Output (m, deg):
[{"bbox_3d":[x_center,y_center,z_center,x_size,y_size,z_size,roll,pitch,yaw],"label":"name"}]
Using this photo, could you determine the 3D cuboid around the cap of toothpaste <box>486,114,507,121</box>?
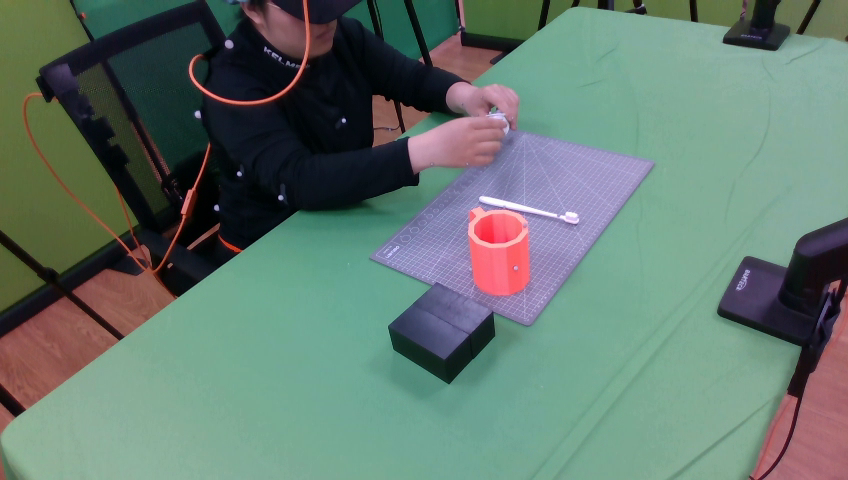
[{"bbox_3d":[0.125,-0.210,1.039,0.037,0.011,0.037,0,6,0],"label":"cap of toothpaste"}]

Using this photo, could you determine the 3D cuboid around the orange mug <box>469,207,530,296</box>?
[{"bbox_3d":[0.104,0.008,0.894,0.084,0.101,0.125,-22,46,-14],"label":"orange mug"}]

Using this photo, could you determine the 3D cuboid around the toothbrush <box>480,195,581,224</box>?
[{"bbox_3d":[0.175,-0.054,1.016,0.180,0.017,0.014,15,58,29],"label":"toothbrush"}]

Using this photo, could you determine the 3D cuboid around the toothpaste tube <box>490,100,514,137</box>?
[{"bbox_3d":[0.146,-0.224,1.127,0.034,0.055,0.165,-21,15,20],"label":"toothpaste tube"}]
